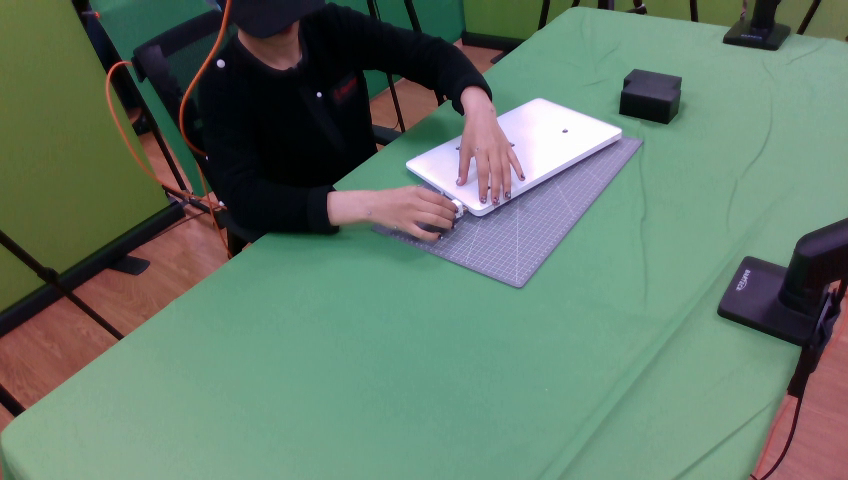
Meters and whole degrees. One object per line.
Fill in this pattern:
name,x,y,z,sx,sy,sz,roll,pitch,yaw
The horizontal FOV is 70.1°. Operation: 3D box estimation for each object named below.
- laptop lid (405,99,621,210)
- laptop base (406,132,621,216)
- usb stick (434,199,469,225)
laptop lid,0.166,-0.177,1.146,0.358,0.013,0.239,-28,40,-21
laptop base,0.169,-0.167,1.152,0.356,0.023,0.233,-29,40,-22
usb stick,0.048,-0.050,1.012,0.059,0.027,0.021,-23,36,-23
